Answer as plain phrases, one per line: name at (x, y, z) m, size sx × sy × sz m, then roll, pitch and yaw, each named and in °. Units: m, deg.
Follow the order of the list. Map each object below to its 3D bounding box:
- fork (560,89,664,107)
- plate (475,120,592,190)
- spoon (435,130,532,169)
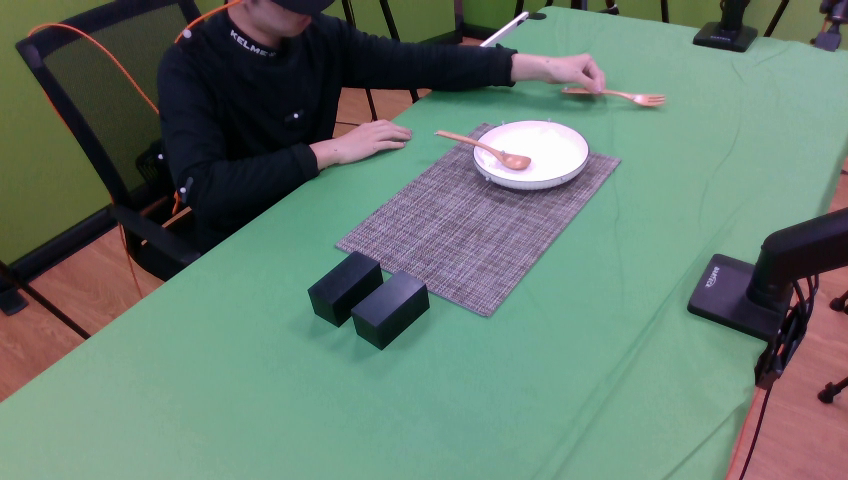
fork at (0.382, -0.293, 1.234) m, size 0.207 × 0.019 × 0.028 m, roll 11°, pitch 61°, yaw 9°
plate at (0.196, -0.151, 1.099) m, size 0.207 × 0.039 × 0.206 m, roll -4°, pitch 40°, yaw 4°
spoon at (0.107, -0.171, 1.112) m, size 0.193 × 0.022 × 0.041 m, roll 25°, pitch 53°, yaw 15°
